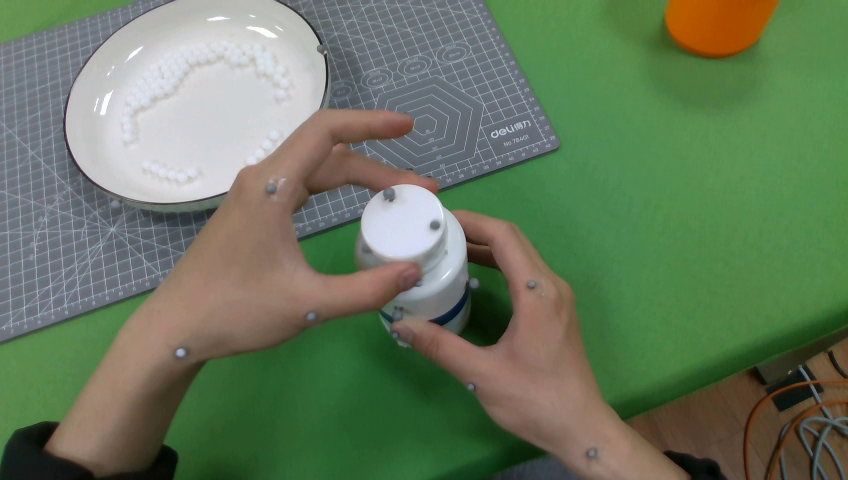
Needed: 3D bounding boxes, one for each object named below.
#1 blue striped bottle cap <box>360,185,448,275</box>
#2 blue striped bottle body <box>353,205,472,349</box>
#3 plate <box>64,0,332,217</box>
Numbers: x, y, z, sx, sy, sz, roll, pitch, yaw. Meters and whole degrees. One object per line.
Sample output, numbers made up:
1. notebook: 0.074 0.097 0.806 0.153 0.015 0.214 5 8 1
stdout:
1. blue striped bottle cap: -0.010 -0.006 0.311 0.044 0.021 0.044 -2 62 3
2. blue striped bottle body: -0.005 0.019 0.361 0.063 0.122 0.062 -3 64 6
3. plate: -0.172 -0.106 0.481 0.207 0.039 0.206 -2 64 4
